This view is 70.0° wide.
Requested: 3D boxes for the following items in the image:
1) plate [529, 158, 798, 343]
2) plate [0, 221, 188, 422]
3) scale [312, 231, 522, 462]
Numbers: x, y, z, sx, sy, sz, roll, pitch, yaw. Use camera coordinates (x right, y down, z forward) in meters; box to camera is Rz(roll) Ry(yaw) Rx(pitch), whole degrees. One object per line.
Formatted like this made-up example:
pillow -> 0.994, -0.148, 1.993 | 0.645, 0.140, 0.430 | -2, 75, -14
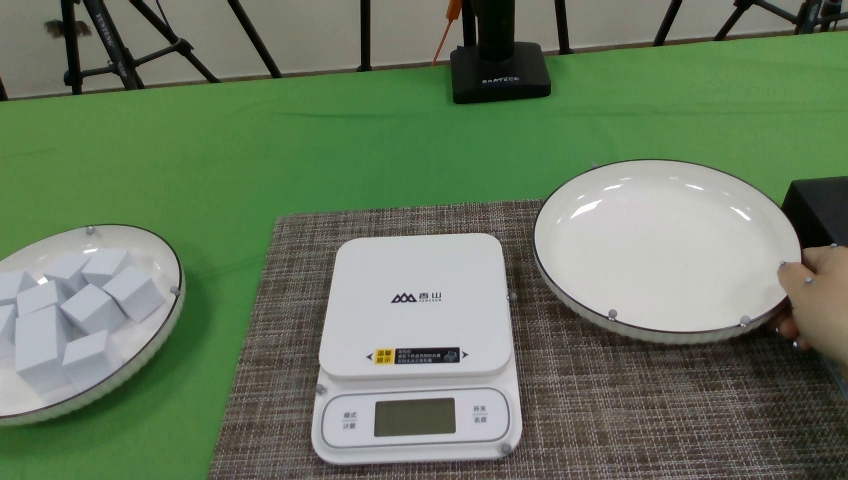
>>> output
plate -> 0.194, 0.007, 0.510 | 0.207, 0.039, 0.205 | -5, 43, 5
plate -> -0.305, 0.067, 0.520 | 0.209, 0.038, 0.207 | -3, 44, 3
scale -> -0.005, 0.073, 0.476 | 0.148, 0.032, 0.199 | -3, 45, 4
